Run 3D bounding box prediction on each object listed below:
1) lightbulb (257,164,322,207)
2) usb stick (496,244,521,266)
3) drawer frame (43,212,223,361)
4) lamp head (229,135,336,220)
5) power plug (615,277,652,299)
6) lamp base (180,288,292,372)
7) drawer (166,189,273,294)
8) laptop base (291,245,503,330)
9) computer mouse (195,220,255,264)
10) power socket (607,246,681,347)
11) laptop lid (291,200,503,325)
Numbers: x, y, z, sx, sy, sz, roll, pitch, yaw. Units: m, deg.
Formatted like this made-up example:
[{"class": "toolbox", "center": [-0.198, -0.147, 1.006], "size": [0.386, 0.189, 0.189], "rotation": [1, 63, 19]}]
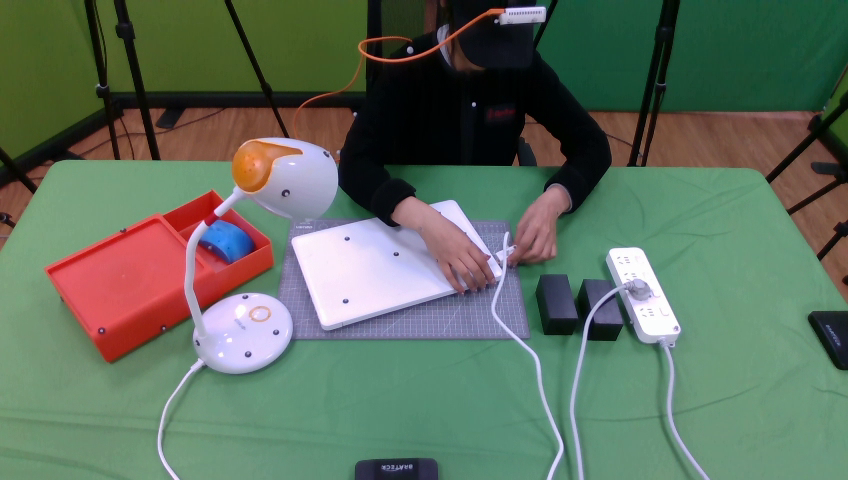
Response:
[{"class": "lightbulb", "center": [-0.181, -0.077, 0.810], "size": [0.059, 0.059, 0.108], "rotation": [36, 12, 27]}, {"class": "usb stick", "center": [0.157, 0.032, 1.166], "size": [0.059, 0.027, 0.021], "rotation": [-26, 60, -6]}, {"class": "drawer frame", "center": [-0.497, 0.073, 1.049], "size": [0.213, 0.083, 0.200], "rotation": [-34, 57, -31]}, {"class": "lamp head", "center": [-0.196, -0.085, 0.791], "size": [0.112, 0.112, 0.123], "rotation": [36, 14, 27]}, {"class": "power plug", "center": [0.375, 0.088, 1.097], "size": [0.072, 0.053, 0.035], "rotation": [6, 46, 2]}, {"class": "lamp base", "center": [-0.309, 0.108, 0.959], "size": [0.160, 0.181, 0.179], "rotation": [29, 55, 22]}, {"class": "drawer", "center": [-0.419, 0.022, 1.108], "size": [0.193, 0.073, 0.211], "rotation": [37, 55, 27]}, {"class": "laptop base", "center": [-0.054, 0.039, 1.157], "size": [0.355, 0.023, 0.234], "rotation": [-15, 46, -17]}, {"class": "computer mouse", "center": [-0.380, -0.002, 1.152], "size": [0.116, 0.041, 0.062], "rotation": [28, 53, 28]}, {"class": "power socket", "center": [0.403, 0.096, 1.123], "size": [0.072, 0.033, 0.225], "rotation": [-3, 47, -5]}, {"class": "laptop lid", "center": [-0.055, 0.029, 1.150], "size": [0.357, 0.013, 0.240], "rotation": [-13, 46, -17]}]
